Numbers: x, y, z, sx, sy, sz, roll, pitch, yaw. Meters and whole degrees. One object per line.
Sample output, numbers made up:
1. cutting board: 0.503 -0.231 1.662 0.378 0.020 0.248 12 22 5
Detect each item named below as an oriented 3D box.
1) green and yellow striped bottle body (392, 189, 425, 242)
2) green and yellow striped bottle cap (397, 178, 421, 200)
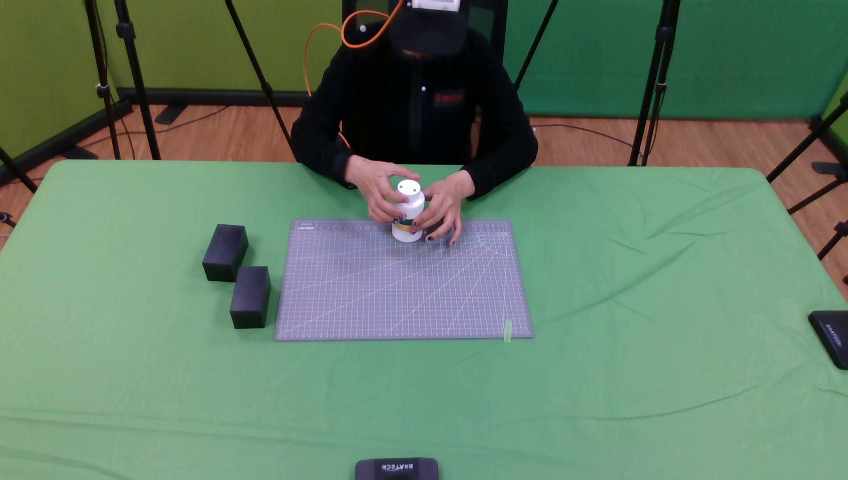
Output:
1. green and yellow striped bottle body: -0.030 -0.058 1.178 0.063 0.120 0.063 2 46 -2
2. green and yellow striped bottle cap: -0.028 -0.096 1.141 0.045 0.020 0.045 2 51 -3
